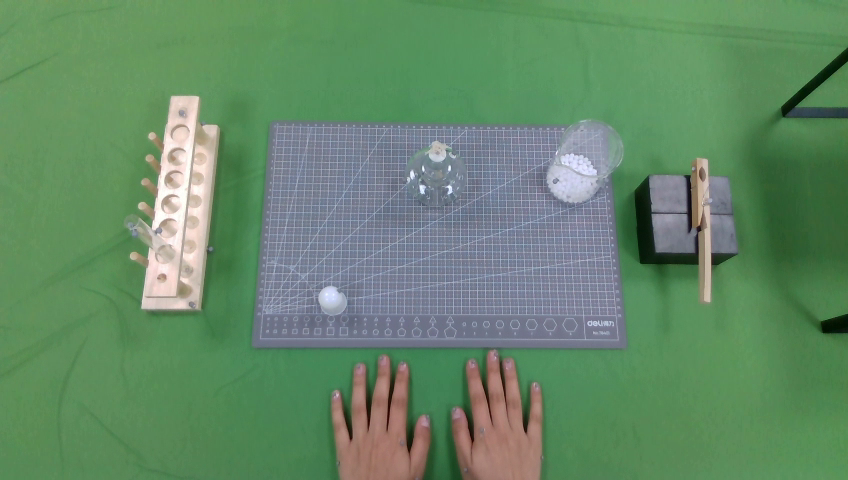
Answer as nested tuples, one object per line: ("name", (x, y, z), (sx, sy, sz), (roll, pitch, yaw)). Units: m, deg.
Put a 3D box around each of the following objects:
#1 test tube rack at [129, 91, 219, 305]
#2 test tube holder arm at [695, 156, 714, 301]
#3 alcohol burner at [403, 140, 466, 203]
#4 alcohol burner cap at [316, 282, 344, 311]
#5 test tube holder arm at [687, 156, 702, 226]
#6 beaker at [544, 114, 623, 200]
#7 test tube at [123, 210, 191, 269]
("test tube rack", (-0.301, -0.049, 0.722), (0.067, 0.085, 0.241), (1, 74, -2))
("test tube holder arm", (0.333, -0.016, 0.723), (0.013, 0.015, 0.177), (1, 75, 0))
("alcohol burner", (0.013, -0.090, 0.729), (0.078, 0.119, 0.077), (0, 74, 0))
("alcohol burner cap", (-0.113, 0.065, 0.716), (0.034, 0.048, 0.033), (1, 73, -3))
("test tube holder arm", (0.329, -0.059, 0.735), (0.010, 0.015, 0.087), (3, 75, 0))
("beaker", (0.189, -0.095, 0.745), (0.084, 0.101, 0.073), (-21, 75, -7))
("test tube", (-0.284, 0.003, 0.656), (0.017, 0.151, 0.017), (0, 69, 0))
